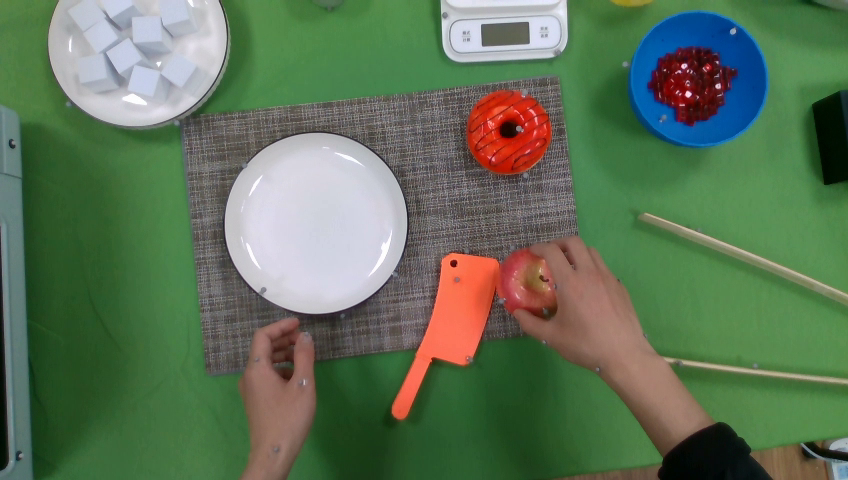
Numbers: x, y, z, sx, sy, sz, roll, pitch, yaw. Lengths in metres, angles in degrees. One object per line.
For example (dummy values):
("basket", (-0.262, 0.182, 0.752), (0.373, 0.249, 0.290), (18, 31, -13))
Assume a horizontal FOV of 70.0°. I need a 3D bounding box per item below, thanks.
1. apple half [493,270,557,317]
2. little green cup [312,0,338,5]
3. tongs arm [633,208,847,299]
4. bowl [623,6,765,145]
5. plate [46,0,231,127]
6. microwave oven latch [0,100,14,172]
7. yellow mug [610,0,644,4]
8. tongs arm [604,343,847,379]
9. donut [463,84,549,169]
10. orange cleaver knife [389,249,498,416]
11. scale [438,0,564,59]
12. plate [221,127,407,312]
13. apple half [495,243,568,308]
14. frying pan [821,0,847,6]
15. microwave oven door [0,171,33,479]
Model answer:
("apple half", (0.102, 0.065, 0.654), (0.081, 0.081, 0.032), (31, 81, 2))
("little green cup", (-0.119, -0.309, 0.711), (0.061, 0.038, 0.061), (0, 86, 0))
("tongs arm", (0.423, 0.044, 0.699), (0.387, 0.028, 0.028), (23, 80, 1))
("bowl", (0.291, -0.176, 0.688), (0.151, 0.077, 0.151), (0, 87, 0))
("plate", (-0.326, -0.231, 0.706), (0.208, 0.039, 0.207), (0, 87, 0))
("microwave oven latch", (-0.481, -0.117, 0.680), (0.030, 0.029, 0.079), (-2, 88, -1))
("yellow mug", (0.234, -0.348, 0.702), (0.100, 0.064, 0.130), (-39, 87, -2))
("tongs arm", (0.402, 0.128, 0.692), (0.385, 0.026, 0.050), (9, 83, 0))
("donut", (0.093, -0.130, 0.697), (0.099, 0.048, 0.099), (0, 88, 2))
("orange cleaver knife", (0.023, 0.107, 0.695), (0.077, 0.012, 0.211), (23, 84, -6))
("scale", (0.089, -0.318, 0.717), (0.149, 0.031, 0.200), (-3, 87, 0))
("plate", (-0.123, -0.023, 0.693), (0.209, 0.038, 0.208), (0, 87, 0))
("apple half", (0.122, 0.033, 0.660), (0.080, 0.075, 0.053), (30, 80, 8))
("frying pan", (0.565, -0.322, 0.684), (0.307, 0.103, 0.485), (-34, 80, -1))
("microwave oven door", (-0.467, 0.094, 0.567), (0.039, 0.244, 0.355), (-5, 87, 0))
